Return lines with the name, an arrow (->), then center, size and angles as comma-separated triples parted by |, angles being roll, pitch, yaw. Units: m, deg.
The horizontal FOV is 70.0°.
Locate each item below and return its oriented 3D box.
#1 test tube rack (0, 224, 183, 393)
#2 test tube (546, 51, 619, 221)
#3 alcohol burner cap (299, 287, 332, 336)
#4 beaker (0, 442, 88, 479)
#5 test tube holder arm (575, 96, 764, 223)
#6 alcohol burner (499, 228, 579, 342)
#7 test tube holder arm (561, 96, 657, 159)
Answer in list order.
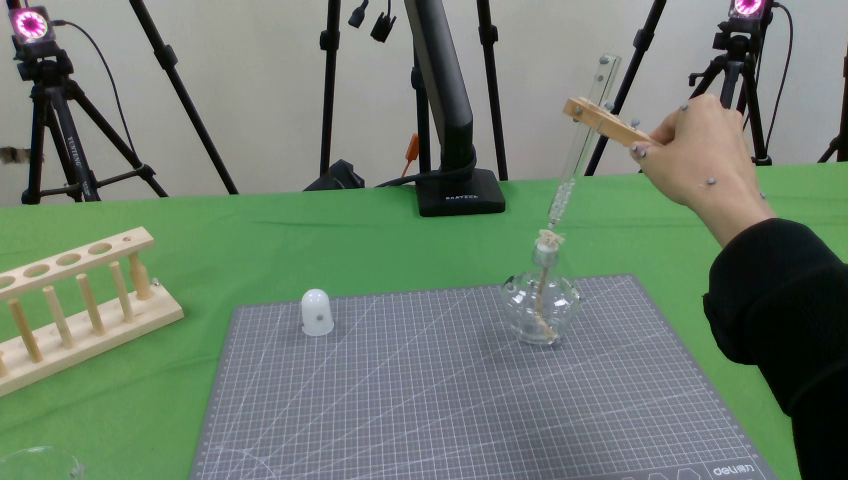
test tube rack -> -0.369, 0.074, 0.577 | 0.243, 0.086, 0.066 | -25, 40, -33
test tube -> 0.133, -0.084, 0.516 | 0.017, 0.151, 0.017 | 11, 27, -5
alcohol burner cap -> -0.112, 0.070, 0.613 | 0.034, 0.048, 0.033 | -1, 32, 1
beaker -> -0.240, 0.188, 0.376 | 0.084, 0.101, 0.073 | 0, 32, 3
test tube holder arm -> 0.182, -0.068, 0.472 | 0.013, 0.015, 0.176 | -13, 45, -40
alcohol burner -> 0.113, 0.040, 0.588 | 0.078, 0.120, 0.077 | 1, 32, 0
test tube holder arm -> 0.150, -0.092, 0.491 | 0.087, 0.015, 0.010 | 37, 36, 26
